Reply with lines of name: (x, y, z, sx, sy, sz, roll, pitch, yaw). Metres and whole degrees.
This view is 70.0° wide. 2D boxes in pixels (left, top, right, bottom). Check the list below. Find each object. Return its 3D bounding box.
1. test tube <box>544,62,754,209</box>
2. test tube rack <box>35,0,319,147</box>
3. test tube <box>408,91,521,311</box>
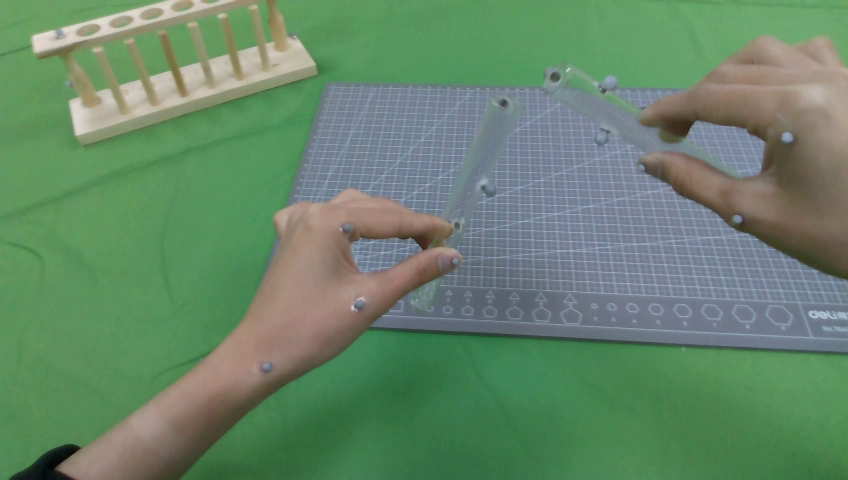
test tube: (0.116, -0.046, 0.296, 0.151, 0.017, 0.017, 22, 41, -30)
test tube rack: (-0.237, -0.182, 0.606, 0.243, 0.086, 0.066, -22, 51, -16)
test tube: (0.017, -0.012, 0.323, 0.017, 0.151, 0.017, 12, 42, -11)
